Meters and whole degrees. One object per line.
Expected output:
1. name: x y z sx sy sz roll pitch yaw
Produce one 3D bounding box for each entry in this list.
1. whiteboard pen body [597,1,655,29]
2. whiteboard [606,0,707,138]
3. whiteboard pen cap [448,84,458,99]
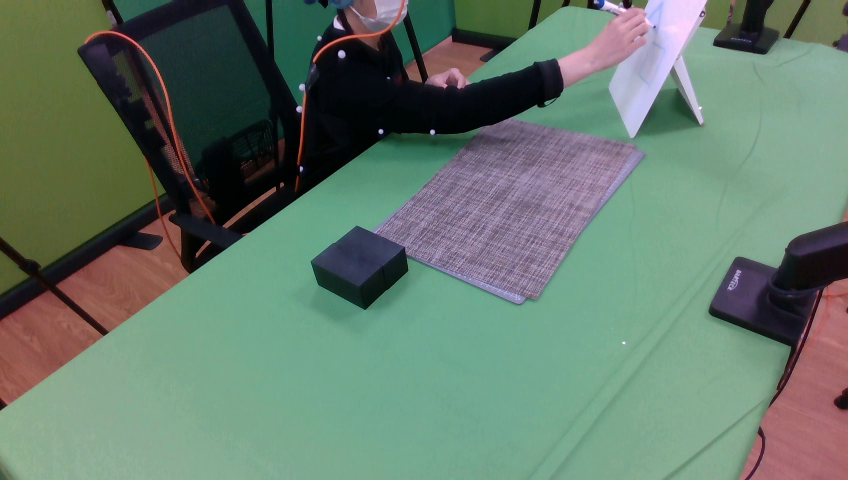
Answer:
1. whiteboard pen body: 0.373 -0.410 1.108 0.142 0.017 0.017 9 33 -27
2. whiteboard: 0.496 -0.358 1.147 0.144 0.305 0.216 12 40 -7
3. whiteboard pen cap: 0.059 -0.310 1.263 0.018 0.018 0.033 7 47 16
